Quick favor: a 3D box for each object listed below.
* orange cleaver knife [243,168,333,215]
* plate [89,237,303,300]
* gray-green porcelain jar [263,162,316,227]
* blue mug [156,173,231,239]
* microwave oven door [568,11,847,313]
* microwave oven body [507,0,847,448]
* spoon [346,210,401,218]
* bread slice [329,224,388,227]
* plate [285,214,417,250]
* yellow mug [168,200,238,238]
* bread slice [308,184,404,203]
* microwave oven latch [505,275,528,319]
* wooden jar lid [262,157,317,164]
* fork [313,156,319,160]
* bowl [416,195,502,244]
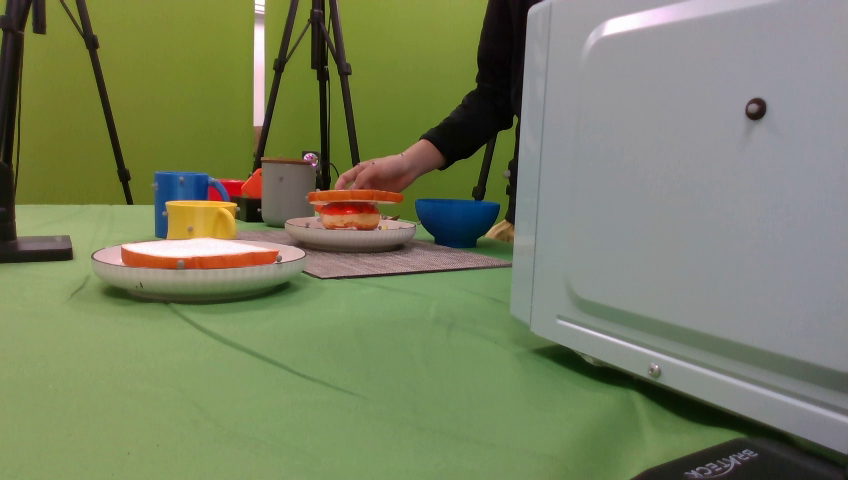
[{"bbox_3d":[-0.300,-0.089,1.351,0.212,0.077,0.012,29,-9,-34],"label":"orange cleaver knife"},{"bbox_3d":[-0.233,0.029,0.637,0.208,0.039,0.207,2,7,0],"label":"plate"},{"bbox_3d":[-0.271,-0.092,1.217,0.106,0.126,0.106,2,7,0],"label":"gray-green porcelain jar"},{"bbox_3d":[-0.381,-0.057,1.004,0.117,0.106,0.082,1,8,-12],"label":"blue mug"},{"bbox_3d":[0.291,-0.068,0.577,0.358,0.243,0.039,-2,8,-29],"label":"microwave oven door"},{"bbox_3d":[0.331,-0.042,0.425,0.444,0.260,0.324,-2,8,-31],"label":"microwave oven body"},{"bbox_3d":[-0.121,-0.060,1.400,0.042,0.021,0.192,-26,24,-38],"label":"spoon"},{"bbox_3d":[-0.103,-0.011,0.960,0.131,0.019,0.105,4,8,24],"label":"bread slice"},{"bbox_3d":[-0.116,-0.014,0.964,0.209,0.038,0.209,2,8,0],"label":"plate"},{"bbox_3d":[-0.320,-0.023,0.904,0.130,0.064,0.100,9,10,36],"label":"yellow mug"},{"bbox_3d":[-0.114,-0.072,0.953,0.134,0.018,0.107,-2,-1,21],"label":"bread slice"},{"bbox_3d":[0.100,0.042,0.471,0.079,0.029,0.030,-1,7,-28],"label":"microwave oven latch"},{"bbox_3d":[-0.269,-0.154,1.208,0.108,0.020,0.108,3,4,0],"label":"wooden jar lid"},{"bbox_3d":[-0.331,-0.144,1.506,0.207,0.018,0.028,-42,-19,22],"label":"fork"},{"bbox_3d":[0.059,-0.035,1.049,0.151,0.077,0.151,2,7,0],"label":"bowl"}]
